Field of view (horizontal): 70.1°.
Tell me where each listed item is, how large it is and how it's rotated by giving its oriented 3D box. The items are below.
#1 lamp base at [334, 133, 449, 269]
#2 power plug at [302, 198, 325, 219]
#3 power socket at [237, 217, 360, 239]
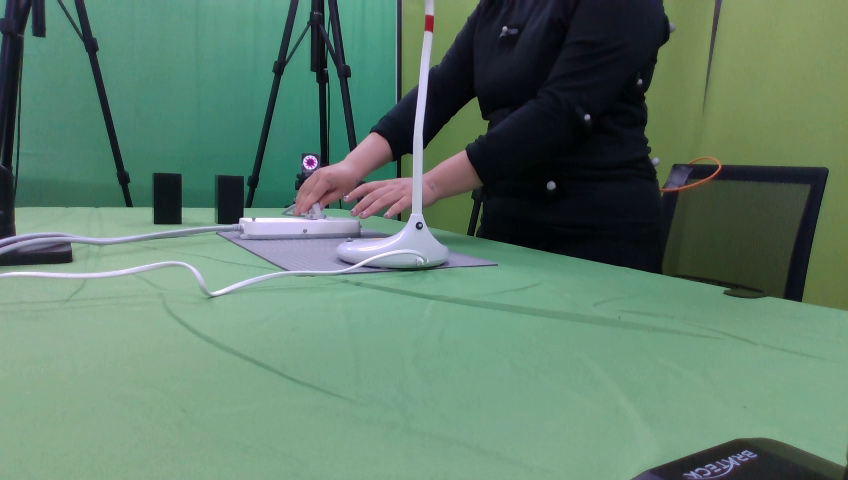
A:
[{"bbox_3d":[-0.034,-0.057,0.830,0.161,0.180,0.178,-3,12,-36],"label":"lamp base"},{"bbox_3d":[-0.205,-0.050,1.120,0.035,0.052,0.072,3,10,-19],"label":"power plug"},{"bbox_3d":[-0.220,-0.023,1.080,0.228,0.032,0.072,-2,8,-32],"label":"power socket"}]
